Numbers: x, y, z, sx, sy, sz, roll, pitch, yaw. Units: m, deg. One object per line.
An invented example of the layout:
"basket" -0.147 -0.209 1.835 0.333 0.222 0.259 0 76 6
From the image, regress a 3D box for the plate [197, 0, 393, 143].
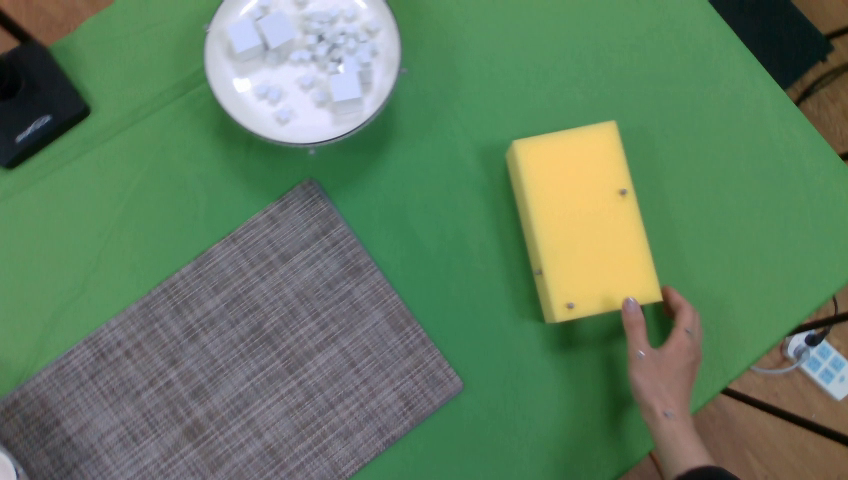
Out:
"plate" -0.137 -0.203 0.660 0.208 0.039 0.207 0 82 -3

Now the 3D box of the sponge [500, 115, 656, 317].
"sponge" 0.169 -0.025 0.683 0.118 0.061 0.206 -14 84 -2

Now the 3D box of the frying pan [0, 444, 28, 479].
"frying pan" -0.468 0.392 0.596 0.307 0.103 0.485 -39 78 -4
